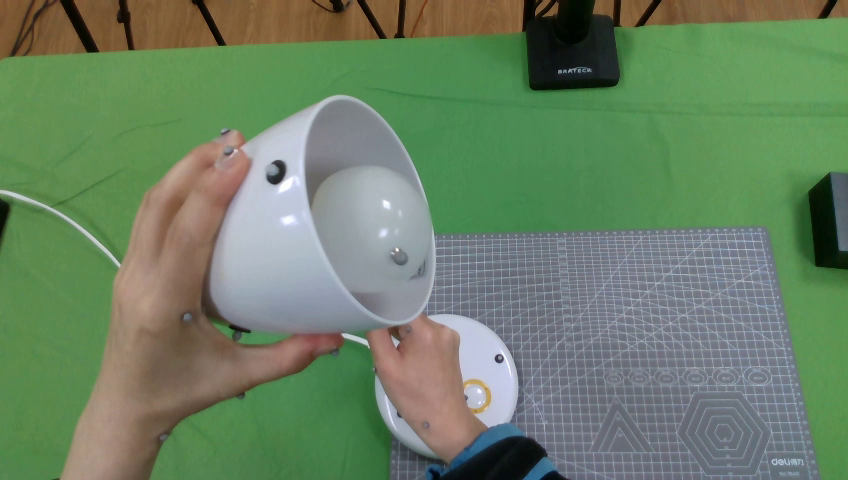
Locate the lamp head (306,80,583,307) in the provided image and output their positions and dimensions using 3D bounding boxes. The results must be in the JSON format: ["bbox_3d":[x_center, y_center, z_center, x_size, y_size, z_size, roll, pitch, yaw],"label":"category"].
[{"bbox_3d":[0.000,-0.029,0.319,0.124,0.112,0.112,16,73,-29],"label":"lamp head"}]

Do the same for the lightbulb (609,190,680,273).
[{"bbox_3d":[0.238,-0.013,0.669,0.059,0.060,0.106,-22,59,-2],"label":"lightbulb"}]

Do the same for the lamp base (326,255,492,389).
[{"bbox_3d":[-0.024,0.060,0.599,0.179,0.181,0.160,9,75,10],"label":"lamp base"}]
